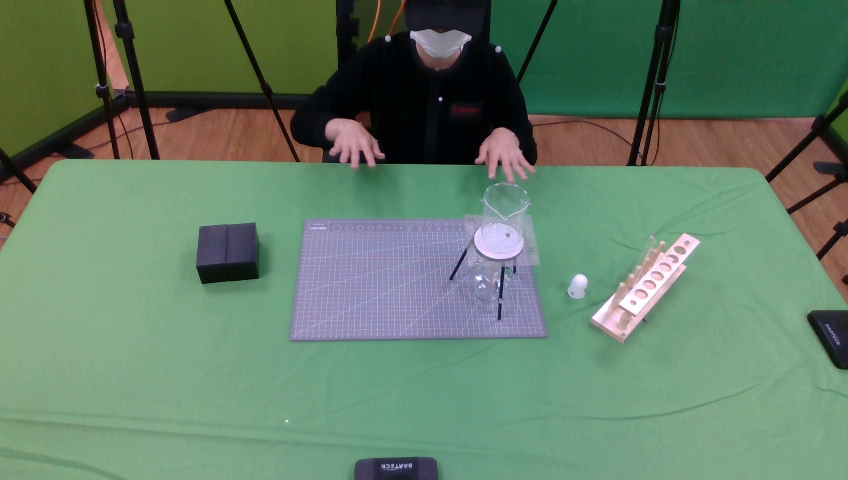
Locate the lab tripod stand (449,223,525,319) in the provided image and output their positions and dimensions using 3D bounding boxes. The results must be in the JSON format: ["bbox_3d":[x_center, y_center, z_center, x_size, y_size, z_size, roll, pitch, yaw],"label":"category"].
[{"bbox_3d":[0.120,0.046,1.080,0.148,0.132,0.147,1,47,-1],"label":"lab tripod stand"}]

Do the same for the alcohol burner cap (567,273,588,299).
[{"bbox_3d":[0.287,0.083,1.125,0.034,0.048,0.033,2,45,-1],"label":"alcohol burner cap"}]

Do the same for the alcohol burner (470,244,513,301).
[{"bbox_3d":[0.122,0.054,1.087,0.078,0.120,0.077,1,45,-1],"label":"alcohol burner"}]

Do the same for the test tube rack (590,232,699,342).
[{"bbox_3d":[0.407,0.074,1.112,0.066,0.085,0.242,35,53,26],"label":"test tube rack"}]

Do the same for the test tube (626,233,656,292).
[{"bbox_3d":[0.384,0.042,1.079,0.017,0.151,0.017,1,47,-1],"label":"test tube"}]

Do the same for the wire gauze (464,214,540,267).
[{"bbox_3d":[0.131,-0.001,1.034,0.121,0.011,0.124,1,44,-2],"label":"wire gauze"}]

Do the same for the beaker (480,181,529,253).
[{"bbox_3d":[0.130,-0.033,0.998,0.074,0.101,0.083,5,47,4],"label":"beaker"}]
